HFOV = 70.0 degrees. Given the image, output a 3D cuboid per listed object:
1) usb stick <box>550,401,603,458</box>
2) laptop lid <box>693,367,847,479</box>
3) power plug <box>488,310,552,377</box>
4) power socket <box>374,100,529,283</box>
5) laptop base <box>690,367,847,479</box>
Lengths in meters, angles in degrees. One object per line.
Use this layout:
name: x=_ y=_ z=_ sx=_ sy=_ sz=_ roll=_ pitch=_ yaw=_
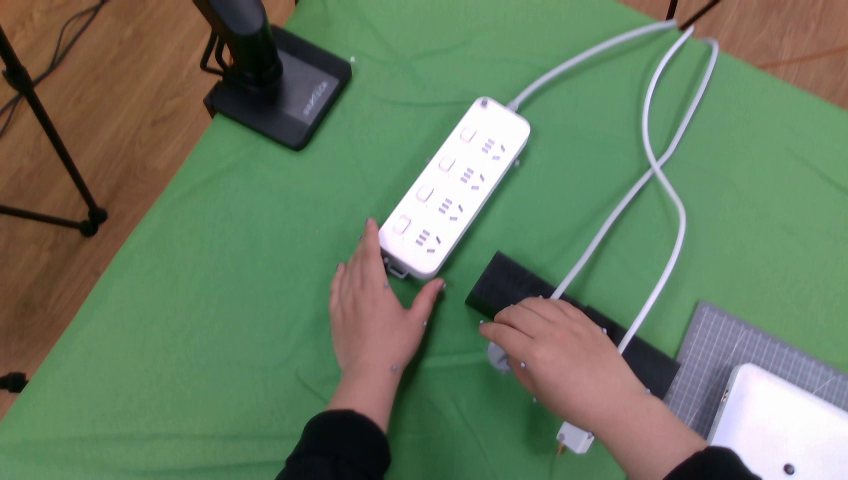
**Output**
usb stick: x=0.138 y=0.180 z=0.558 sx=0.027 sy=0.022 sz=0.059 roll=35 pitch=100 yaw=37
laptop lid: x=0.409 y=0.301 z=0.554 sx=0.356 sy=0.013 sz=0.241 roll=29 pitch=75 yaw=5
power plug: x=0.095 y=0.102 z=0.569 sx=0.072 sy=0.053 sz=0.035 roll=-25 pitch=62 yaw=4
power socket: x=0.032 y=-0.054 z=0.636 sx=0.072 sy=0.033 sz=0.226 roll=34 pitch=73 yaw=5
laptop base: x=0.410 y=0.302 z=0.565 sx=0.354 sy=0.023 sz=0.235 roll=28 pitch=76 yaw=4
